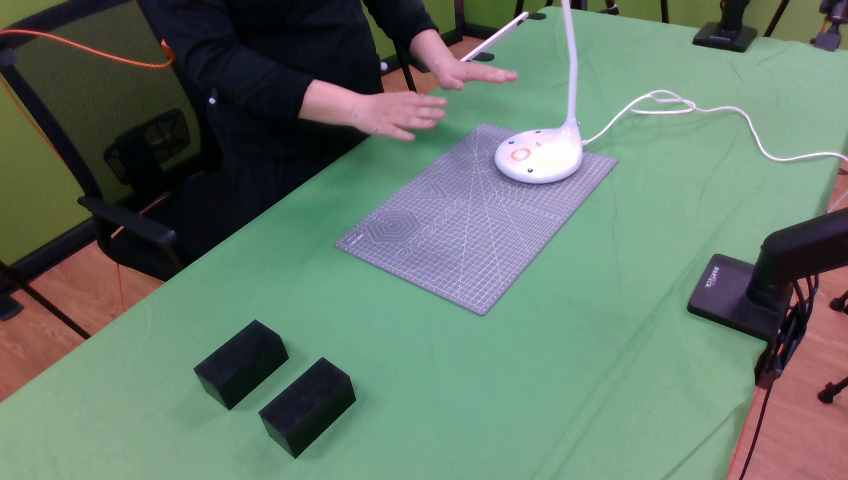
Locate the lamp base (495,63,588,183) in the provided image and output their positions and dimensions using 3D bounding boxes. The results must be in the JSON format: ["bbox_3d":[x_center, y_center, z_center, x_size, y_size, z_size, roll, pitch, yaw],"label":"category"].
[{"bbox_3d":[0.214,-0.217,1.067,0.180,0.181,0.159,-20,42,-18],"label":"lamp base"}]
